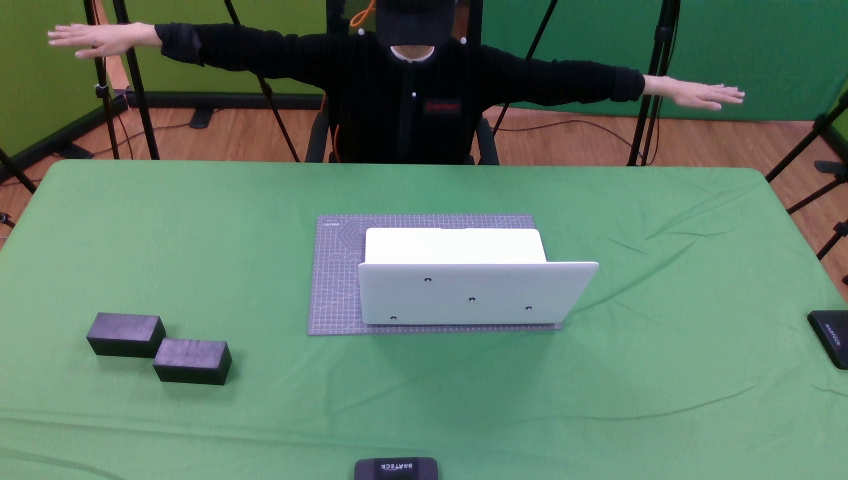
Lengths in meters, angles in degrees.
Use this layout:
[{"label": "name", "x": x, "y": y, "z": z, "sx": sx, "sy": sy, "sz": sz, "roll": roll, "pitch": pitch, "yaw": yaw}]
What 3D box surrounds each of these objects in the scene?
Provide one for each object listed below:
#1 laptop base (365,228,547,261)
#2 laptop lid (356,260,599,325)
[{"label": "laptop base", "x": 0.064, "y": 0.063, "z": 1.142, "sx": 0.355, "sy": 0.023, "sz": 0.234, "roll": 0, "pitch": 42, "yaw": -4}, {"label": "laptop lid", "x": 0.074, "y": 0.089, "z": 0.958, "sx": 0.357, "sy": 0.242, "sz": 0.013, "roll": 1, "pitch": 60, "yaw": -5}]
